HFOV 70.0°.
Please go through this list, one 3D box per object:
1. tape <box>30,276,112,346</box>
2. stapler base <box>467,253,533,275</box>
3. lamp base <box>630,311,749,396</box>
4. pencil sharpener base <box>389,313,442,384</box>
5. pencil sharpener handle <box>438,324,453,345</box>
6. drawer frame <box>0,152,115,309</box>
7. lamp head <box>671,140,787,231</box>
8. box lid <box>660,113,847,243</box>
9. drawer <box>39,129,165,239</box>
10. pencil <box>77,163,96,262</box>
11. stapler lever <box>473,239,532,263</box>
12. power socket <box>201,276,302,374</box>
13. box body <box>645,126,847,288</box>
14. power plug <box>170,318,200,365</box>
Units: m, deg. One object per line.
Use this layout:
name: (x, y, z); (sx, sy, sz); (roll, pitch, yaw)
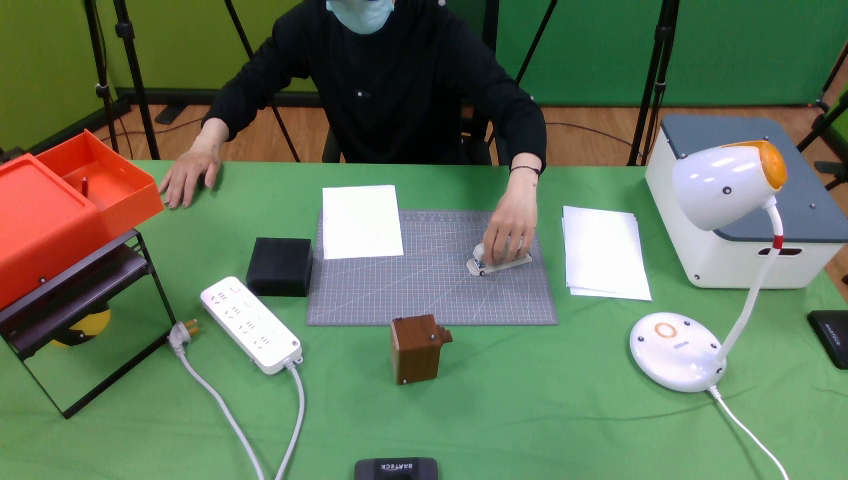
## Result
tape: (-0.594, 0.118, 1.021); (0.117, 0.053, 0.116); (3, 44, -2)
stapler base: (0.148, 0.035, 1.171); (0.131, 0.024, 0.041); (-12, 50, -18)
lamp base: (0.447, 0.143, 0.983); (0.161, 0.181, 0.178); (-24, 55, -24)
pencil sharpener base: (-0.013, 0.175, 0.971); (0.077, 0.107, 0.061); (-8, 47, -12)
pencil sharpener handle: (0.036, 0.155, 0.976); (0.031, 0.068, 0.036); (-8, 69, -11)
drawer frame: (-0.605, -0.011, 0.874); (0.201, 0.083, 0.213); (31, 52, 23)
lamp head: (0.415, -0.078, 0.811); (0.113, 0.123, 0.112); (12, 70, -37)
box lid: (0.628, -0.133, 1.170); (0.263, 0.015, 0.369); (1, 46, -3)
drawer: (-0.548, -0.060, 0.929); (0.193, 0.073, 0.211); (32, 53, 23)
pencil: (-0.528, -0.047, 0.942); (0.012, 0.012, 0.193); (-15, 61, -18)
stapler lever: (0.150, 0.017, 1.155); (0.118, 0.040, 0.026); (-13, 50, -17)
power socket: (-0.297, 0.141, 1.034); (0.072, 0.033, 0.225); (-34, 58, -30)
box body: (0.625, -0.080, 1.222); (0.254, 0.161, 0.361); (0, 46, -3)
power plug: (-0.392, 0.167, 1.015); (0.052, 0.035, 0.072); (-30, 92, -23)
